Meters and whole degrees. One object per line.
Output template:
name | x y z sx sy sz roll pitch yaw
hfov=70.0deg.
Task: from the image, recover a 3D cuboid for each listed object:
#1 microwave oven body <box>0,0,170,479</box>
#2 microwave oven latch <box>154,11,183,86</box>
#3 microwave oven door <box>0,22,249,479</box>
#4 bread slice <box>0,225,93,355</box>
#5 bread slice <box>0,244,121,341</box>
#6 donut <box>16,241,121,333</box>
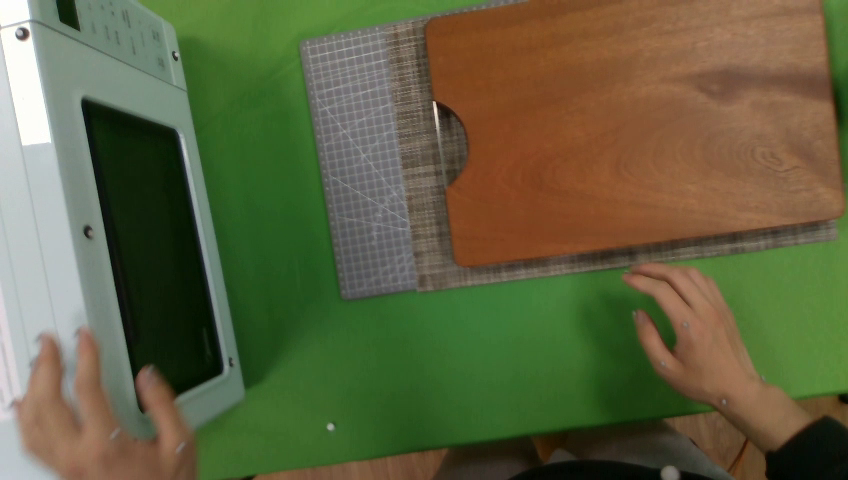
microwave oven body | -0.413 -0.005 0.594 0.326 0.260 0.441 -12 91 6
microwave oven latch | -0.293 -0.209 0.672 0.030 0.029 0.079 -11 91 6
microwave oven door | -0.263 0.007 0.574 0.039 0.244 0.355 -12 90 7
bread slice | -0.381 0.057 0.578 0.134 0.018 0.107 -20 92 20
bread slice | -0.396 0.057 0.654 0.131 0.019 0.105 3 97 -1
donut | -0.366 0.048 0.624 0.099 0.048 0.099 -2 107 -7
